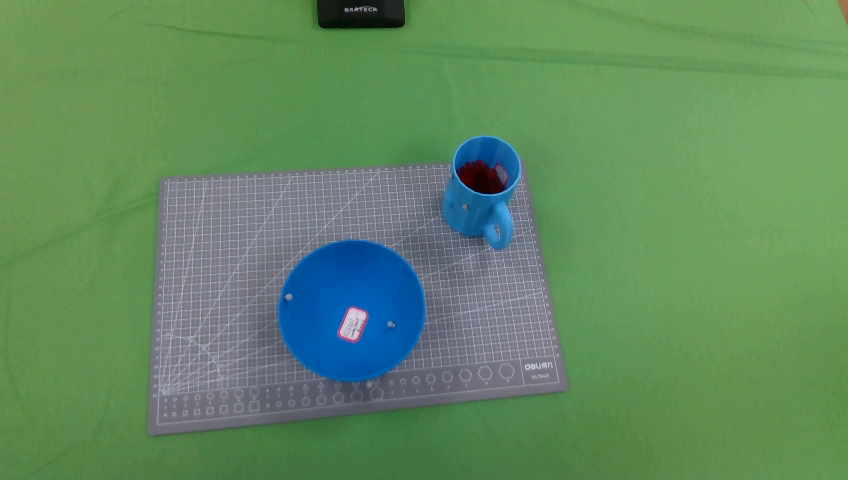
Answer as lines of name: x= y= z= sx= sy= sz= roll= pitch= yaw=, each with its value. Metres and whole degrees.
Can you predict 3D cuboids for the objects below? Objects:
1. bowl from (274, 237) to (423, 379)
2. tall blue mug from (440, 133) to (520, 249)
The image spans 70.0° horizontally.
bowl: x=-0.078 y=0.080 z=0.648 sx=0.151 sy=0.077 sz=0.150 roll=2 pitch=68 yaw=-5
tall blue mug: x=0.073 y=-0.052 z=0.698 sx=0.107 sy=0.108 sz=0.077 roll=40 pitch=69 yaw=11
